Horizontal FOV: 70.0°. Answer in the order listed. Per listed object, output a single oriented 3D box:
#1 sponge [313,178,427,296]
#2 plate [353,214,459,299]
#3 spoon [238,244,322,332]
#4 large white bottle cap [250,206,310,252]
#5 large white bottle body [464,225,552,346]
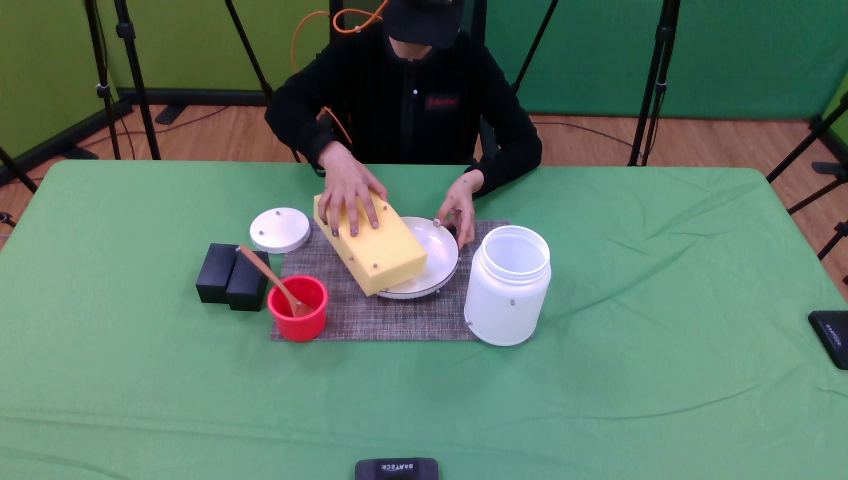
[{"bbox_3d":[-0.102,-0.010,1.098,0.118,0.061,0.205,-24,59,-27],"label":"sponge"},{"bbox_3d":[-0.038,0.034,1.137,0.209,0.038,0.208,-2,45,2],"label":"plate"},{"bbox_3d":[-0.241,0.079,1.015,0.194,0.021,0.041,53,52,-15],"label":"spoon"},{"bbox_3d":[-0.284,-0.023,1.197,0.115,0.018,0.114,1,46,0],"label":"large white bottle cap"},{"bbox_3d":[0.141,0.076,1.017,0.131,0.185,0.130,2,46,-2],"label":"large white bottle body"}]
